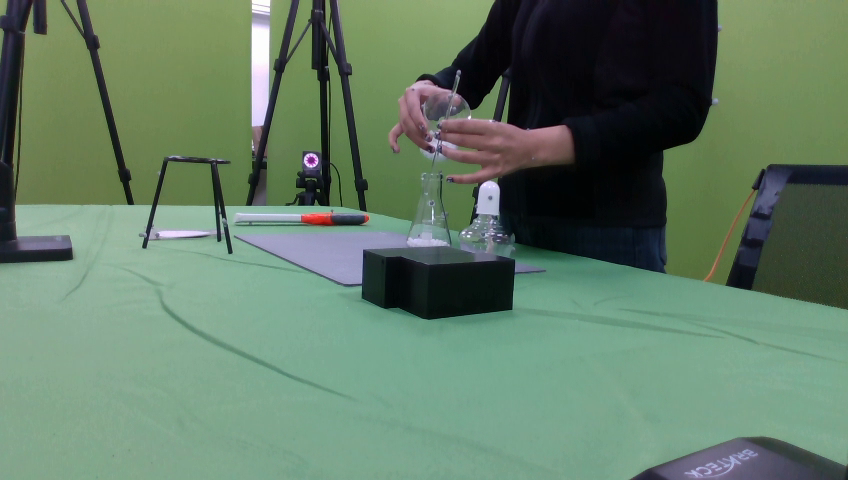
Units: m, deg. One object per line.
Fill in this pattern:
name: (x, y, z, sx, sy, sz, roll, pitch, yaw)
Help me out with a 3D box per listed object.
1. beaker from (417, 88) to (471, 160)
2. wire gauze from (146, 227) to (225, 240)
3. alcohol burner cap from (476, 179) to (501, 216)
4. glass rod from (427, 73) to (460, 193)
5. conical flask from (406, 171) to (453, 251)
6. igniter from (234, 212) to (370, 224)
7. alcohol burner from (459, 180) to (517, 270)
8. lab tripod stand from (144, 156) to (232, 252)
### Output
beaker: (0.028, -0.178, 0.962, 0.074, 0.084, 0.100, 15, -23, -2)
wire gauze: (-0.400, -0.012, 1.019, 0.122, 0.011, 0.124, -1, 6, -26)
alcohol burner cap: (0.086, -0.057, 0.801, 0.034, 0.048, 0.034, 4, 2, 0)
glass rod: (0.027, -0.152, 0.895, 0.008, 0.199, 0.008, 10, 36, -7)
conical flask: (0.011, -0.046, 0.948, 0.075, 0.122, 0.075, 2, 8, 0)
igniter: (-0.247, -0.046, 1.253, 0.278, 0.025, 0.057, -1, -3, -27)
alcohol burner: (0.086, -0.021, 0.805, 0.078, 0.119, 0.078, 3, 10, 0)
lab tripod stand: (-0.325, -0.054, 0.881, 0.148, 0.131, 0.148, 4, 7, 0)
